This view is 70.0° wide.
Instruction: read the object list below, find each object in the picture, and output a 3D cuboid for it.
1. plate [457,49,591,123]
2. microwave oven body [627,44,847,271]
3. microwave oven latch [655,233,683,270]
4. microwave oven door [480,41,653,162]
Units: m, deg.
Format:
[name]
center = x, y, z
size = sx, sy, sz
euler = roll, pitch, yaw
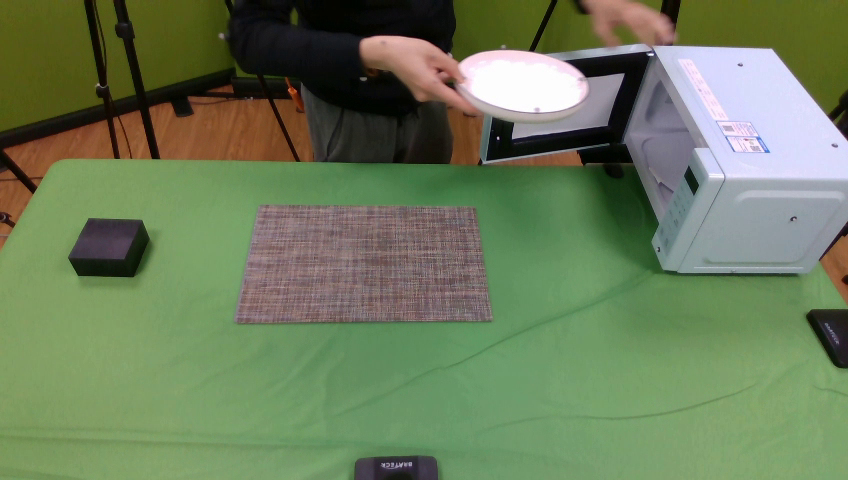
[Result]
[plate]
center = 0.152, -0.236, 0.942
size = 0.209, 0.038, 0.208
euler = 3, 42, -3
[microwave oven body]
center = 0.619, -0.172, 1.234
size = 0.326, 0.261, 0.439
euler = 0, 46, -3
[microwave oven latch]
center = 0.473, 0.021, 1.176
size = 0.030, 0.029, 0.078
euler = 2, 46, -1
[microwave oven door]
center = 0.307, -0.302, 1.328
size = 0.356, 0.245, 0.039
euler = -10, 48, -12
